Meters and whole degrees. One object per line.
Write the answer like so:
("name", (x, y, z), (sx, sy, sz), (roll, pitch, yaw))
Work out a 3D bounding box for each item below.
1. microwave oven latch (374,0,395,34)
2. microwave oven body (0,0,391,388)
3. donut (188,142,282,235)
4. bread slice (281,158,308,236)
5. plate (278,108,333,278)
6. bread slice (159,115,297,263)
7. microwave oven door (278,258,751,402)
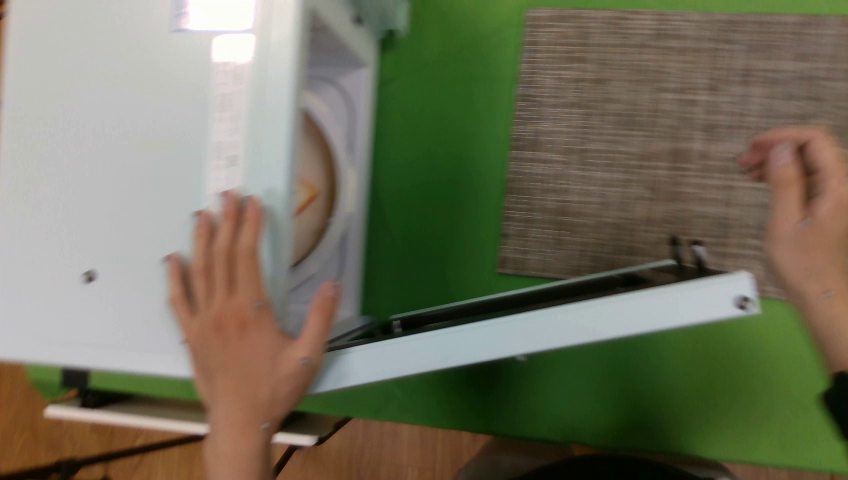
("microwave oven latch", (-0.047, -0.275, 0.681), (0.030, 0.029, 0.079), (3, 92, 10))
("microwave oven body", (-0.219, -0.105, 0.616), (0.325, 0.260, 0.441), (3, 91, 10))
("donut", (-0.199, -0.054, 0.636), (0.099, 0.048, 0.099), (0, 91, 6))
("bread slice", (-0.195, -0.057, 0.666), (0.134, 0.018, 0.107), (39, 88, -4))
("plate", (-0.197, -0.052, 0.666), (0.207, 0.039, 0.207), (0, 91, 10))
("bread slice", (-0.207, -0.057, 0.610), (0.105, 0.019, 0.131), (-41, 86, 10))
("microwave oven door", (0.077, 0.074, 0.560), (0.355, 0.244, 0.039), (-14, 87, 10))
